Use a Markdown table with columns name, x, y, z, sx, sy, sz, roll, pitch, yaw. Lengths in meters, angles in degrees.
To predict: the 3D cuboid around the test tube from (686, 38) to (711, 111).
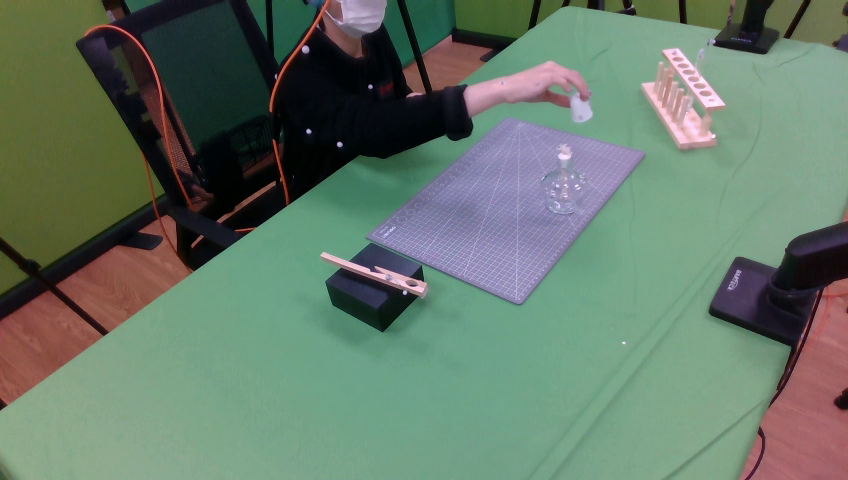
| name | x | y | z | sx | sy | sz | roll | pitch | yaw |
| --- | --- | --- | --- | --- | --- | --- | --- | --- | --- |
| test tube | 0.508 | -0.305 | 1.128 | 0.017 | 0.151 | 0.017 | -2 | 46 | 3 |

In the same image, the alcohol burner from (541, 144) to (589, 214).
| name | x | y | z | sx | sy | sz | roll | pitch | yaw |
| --- | --- | --- | --- | --- | --- | --- | --- | --- | --- |
| alcohol burner | 0.229 | -0.102 | 0.983 | 0.078 | 0.119 | 0.077 | -6 | 41 | 5 |

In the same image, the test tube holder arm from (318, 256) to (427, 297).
| name | x | y | z | sx | sy | sz | roll | pitch | yaw |
| --- | --- | --- | --- | --- | --- | --- | --- | --- | --- |
| test tube holder arm | -0.076 | 0.050 | 0.855 | 0.177 | 0.015 | 0.013 | 13 | 49 | 24 |

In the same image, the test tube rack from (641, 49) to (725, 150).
| name | x | y | z | sx | sy | sz | roll | pitch | yaw |
| --- | --- | --- | --- | --- | --- | --- | --- | --- | --- |
| test tube rack | 0.495 | -0.279 | 1.175 | 0.067 | 0.085 | 0.241 | -5 | 41 | 3 |

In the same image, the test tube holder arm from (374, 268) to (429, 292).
| name | x | y | z | sx | sy | sz | roll | pitch | yaw |
| --- | --- | --- | --- | --- | --- | --- | --- | --- | --- |
| test tube holder arm | -0.034 | 0.056 | 0.840 | 0.087 | 0.015 | 0.010 | 14 | 50 | 25 |

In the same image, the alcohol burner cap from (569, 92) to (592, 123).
| name | x | y | z | sx | sy | sz | roll | pitch | yaw |
| --- | --- | --- | --- | --- | --- | --- | --- | --- | --- |
| alcohol burner cap | 0.248 | -0.215 | 0.967 | 0.034 | 0.048 | 0.033 | -15 | 46 | 17 |
